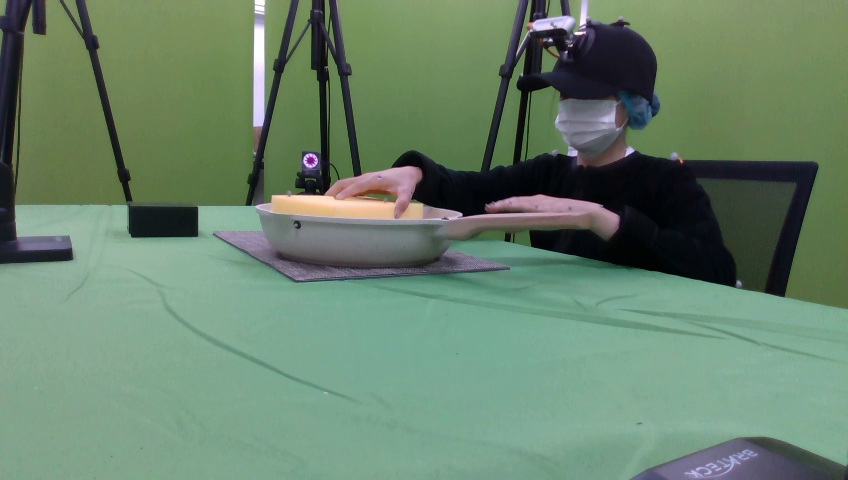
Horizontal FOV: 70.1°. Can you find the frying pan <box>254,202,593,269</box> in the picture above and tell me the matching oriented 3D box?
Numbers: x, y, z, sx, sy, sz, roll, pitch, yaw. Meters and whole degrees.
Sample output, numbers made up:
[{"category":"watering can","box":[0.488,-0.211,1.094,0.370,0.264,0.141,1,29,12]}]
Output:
[{"category":"frying pan","box":[-0.011,-0.016,0.802,0.485,0.102,0.308,-2,4,39]}]

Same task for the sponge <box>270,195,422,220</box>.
[{"category":"sponge","box":[-0.107,-0.028,0.877,0.117,0.061,0.208,10,9,32]}]
